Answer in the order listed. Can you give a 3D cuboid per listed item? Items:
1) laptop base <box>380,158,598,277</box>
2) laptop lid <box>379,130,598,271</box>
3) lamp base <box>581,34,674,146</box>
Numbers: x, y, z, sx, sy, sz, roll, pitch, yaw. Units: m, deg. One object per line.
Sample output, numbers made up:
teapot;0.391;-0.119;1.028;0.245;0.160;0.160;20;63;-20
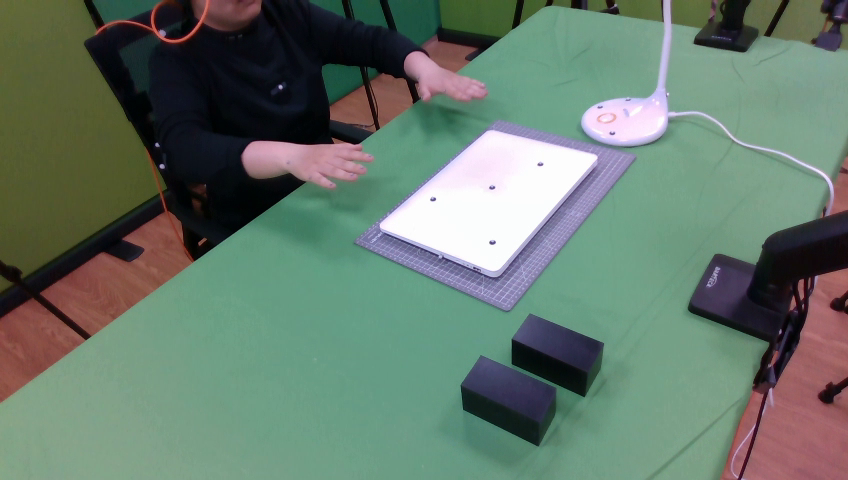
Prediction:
laptop base;0.120;-0.077;1.043;0.233;0.023;0.355;20;47;32
laptop lid;0.117;-0.087;1.037;0.240;0.013;0.358;22;48;33
lamp base;0.392;-0.291;1.129;0.180;0.181;0.159;-11;41;-8
